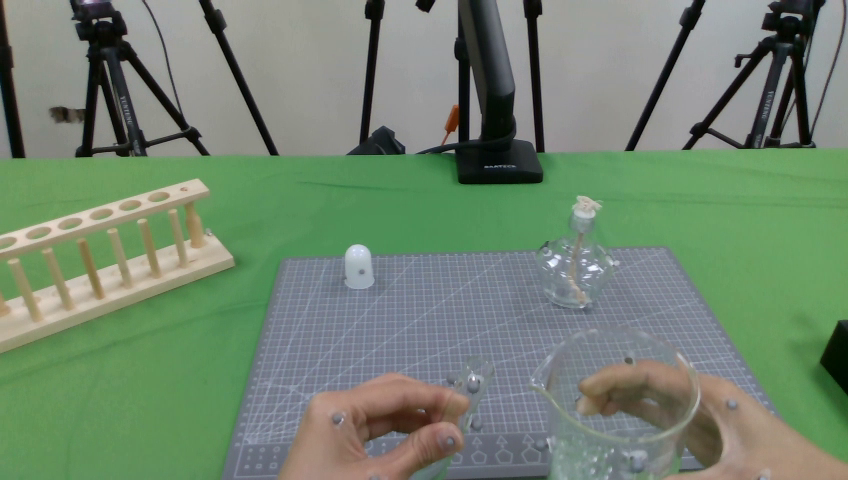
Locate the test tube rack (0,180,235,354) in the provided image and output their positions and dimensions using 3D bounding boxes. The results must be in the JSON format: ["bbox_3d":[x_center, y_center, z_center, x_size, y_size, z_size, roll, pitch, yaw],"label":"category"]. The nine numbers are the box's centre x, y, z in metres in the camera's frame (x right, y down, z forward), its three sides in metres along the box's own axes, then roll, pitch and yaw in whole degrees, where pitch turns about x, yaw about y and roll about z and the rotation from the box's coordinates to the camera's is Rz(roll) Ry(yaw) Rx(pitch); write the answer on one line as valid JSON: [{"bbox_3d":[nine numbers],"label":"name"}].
[{"bbox_3d":[-0.330,0.021,0.622,0.243,0.086,0.066,-22,40,-30],"label":"test tube rack"}]

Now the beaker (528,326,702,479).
[{"bbox_3d":[0.099,0.109,0.330,0.084,0.101,0.073,0,36,10],"label":"beaker"}]

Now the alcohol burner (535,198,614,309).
[{"bbox_3d":[0.153,0.010,0.607,0.078,0.120,0.077,1,34,-1],"label":"alcohol burner"}]

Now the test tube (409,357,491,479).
[{"bbox_3d":[0.004,0.124,0.336,0.017,0.151,0.017,16,28,-8],"label":"test tube"}]

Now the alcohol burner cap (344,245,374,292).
[{"bbox_3d":[-0.071,0.028,0.645,0.034,0.048,0.033,0,33,1],"label":"alcohol burner cap"}]
